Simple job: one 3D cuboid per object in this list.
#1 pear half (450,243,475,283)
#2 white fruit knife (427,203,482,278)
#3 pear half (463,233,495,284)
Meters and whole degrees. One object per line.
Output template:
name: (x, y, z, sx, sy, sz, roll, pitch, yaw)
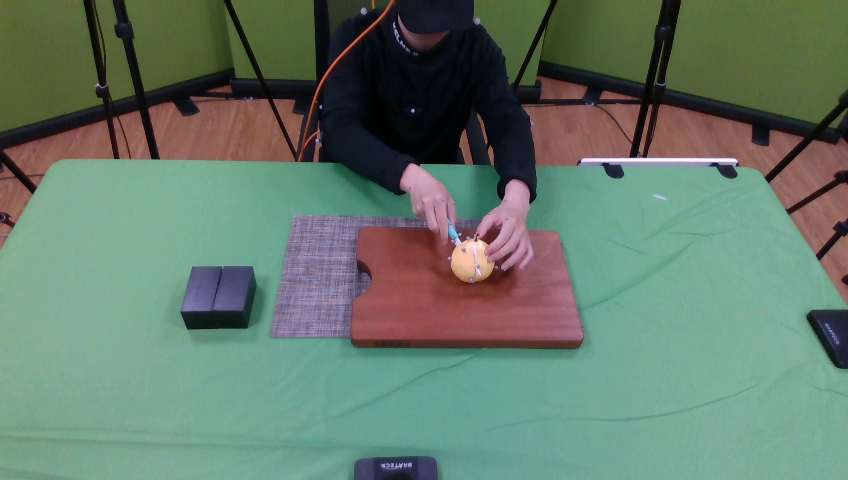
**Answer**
pear half: (0.064, 0.042, 1.081, 0.031, 0.088, 0.070, -23, 55, -19)
white fruit knife: (0.055, -0.003, 1.109, 0.016, 0.027, 0.206, -17, 50, -21)
pear half: (0.100, 0.025, 1.085, 0.056, 0.110, 0.076, -20, 53, -22)
